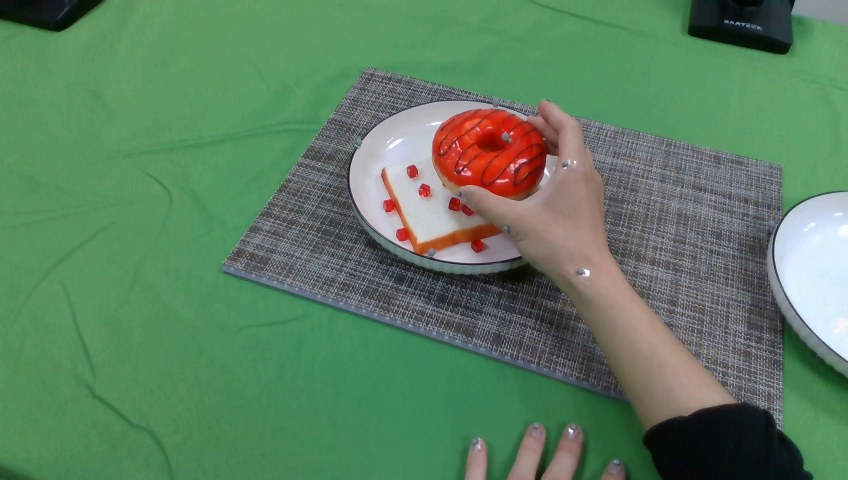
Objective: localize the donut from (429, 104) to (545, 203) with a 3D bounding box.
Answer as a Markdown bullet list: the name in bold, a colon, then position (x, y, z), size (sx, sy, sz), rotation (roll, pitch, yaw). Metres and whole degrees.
- **donut**: position (0.053, -0.074, 0.512), size (0.099, 0.048, 0.098), rotation (4, 55, -5)

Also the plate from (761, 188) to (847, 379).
- **plate**: position (0.377, 0.045, 0.488), size (0.208, 0.039, 0.205), rotation (1, 51, -1)

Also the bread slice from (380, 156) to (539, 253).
- **bread slice**: position (0.036, -0.046, 0.549), size (0.132, 0.019, 0.103), rotation (-16, 54, -13)

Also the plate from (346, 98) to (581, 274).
- **plate**: position (0.034, -0.050, 0.550), size (0.209, 0.038, 0.207), rotation (1, 51, -1)
